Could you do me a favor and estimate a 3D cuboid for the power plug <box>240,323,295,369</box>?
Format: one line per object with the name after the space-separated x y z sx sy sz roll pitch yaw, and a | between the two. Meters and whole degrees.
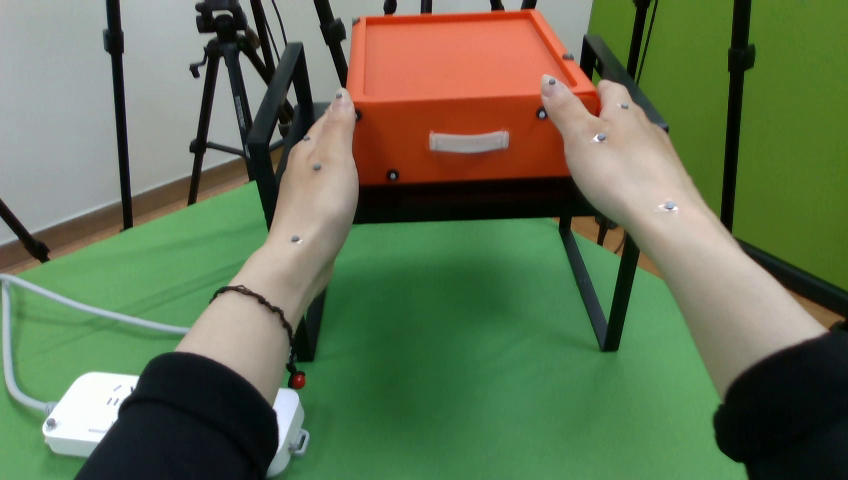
-0.157 0.108 0.592 0.072 0.035 0.052 -24 21 29 | power plug

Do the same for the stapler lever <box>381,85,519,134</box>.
0.022 -0.114 0.521 0.118 0.040 0.026 7 35 12 | stapler lever

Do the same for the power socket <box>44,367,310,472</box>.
-0.212 0.152 0.521 0.226 0.033 0.071 3 36 7 | power socket

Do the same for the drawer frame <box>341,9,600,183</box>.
0.031 -0.140 0.562 0.202 0.083 0.211 -4 37 -3 | drawer frame

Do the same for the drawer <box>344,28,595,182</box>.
0.032 -0.137 0.560 0.194 0.074 0.209 -3 36 -2 | drawer

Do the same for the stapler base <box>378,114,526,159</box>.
0.025 -0.095 0.535 0.130 0.024 0.041 6 35 12 | stapler base

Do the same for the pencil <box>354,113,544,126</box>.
0.017 -0.113 0.561 0.193 0.012 0.012 5 36 27 | pencil
